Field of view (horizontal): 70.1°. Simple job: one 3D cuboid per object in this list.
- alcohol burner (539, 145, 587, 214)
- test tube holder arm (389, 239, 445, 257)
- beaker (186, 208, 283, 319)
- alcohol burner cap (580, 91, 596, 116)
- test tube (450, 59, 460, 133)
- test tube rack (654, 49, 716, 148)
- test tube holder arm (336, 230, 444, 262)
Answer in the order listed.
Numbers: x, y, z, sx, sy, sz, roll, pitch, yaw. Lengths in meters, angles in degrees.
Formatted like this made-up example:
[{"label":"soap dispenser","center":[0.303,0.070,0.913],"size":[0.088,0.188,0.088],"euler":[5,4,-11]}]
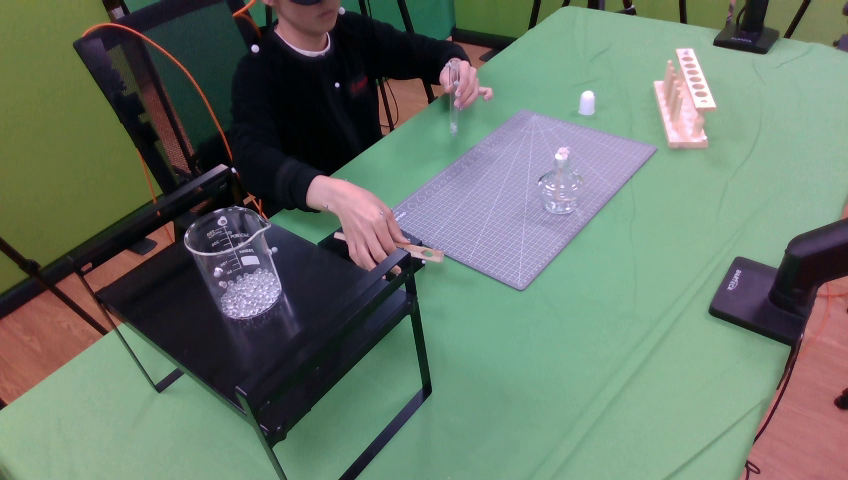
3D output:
[{"label":"alcohol burner","center":[0.226,-0.102,0.986],"size":[0.078,0.119,0.077],"euler":[-6,41,6]},{"label":"test tube holder arm","center":[-0.012,0.012,0.883],"size":[0.087,0.010,0.015],"euler":[12,4,22]},{"label":"beaker","center":[-0.192,0.026,0.637],"size":[0.084,0.101,0.073],"euler":[-13,41,-7]},{"label":"alcohol burner cap","center":[0.338,-0.283,1.238],"size":[0.034,0.048,0.033],"euler":[-5,42,5]},{"label":"test tube","center":[0.057,-0.258,1.100],"size":[0.017,0.151,0.017],"euler":[-1,46,2]},{"label":"test tube rack","center":[0.502,-0.281,1.176],"size":[0.066,0.085,0.241],"euler":[1,41,11]},{"label":"test tube holder arm","center":[-0.053,0.009,0.900],"size":[0.177,0.013,0.015],"euler":[12,4,22]}]
